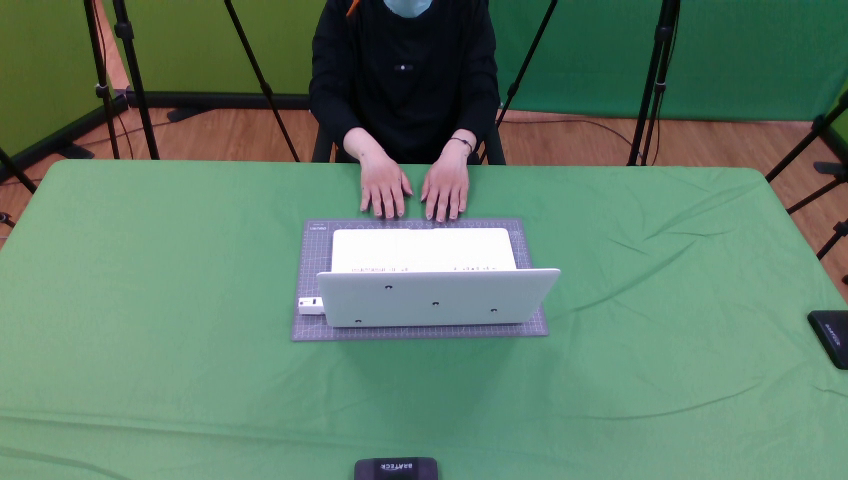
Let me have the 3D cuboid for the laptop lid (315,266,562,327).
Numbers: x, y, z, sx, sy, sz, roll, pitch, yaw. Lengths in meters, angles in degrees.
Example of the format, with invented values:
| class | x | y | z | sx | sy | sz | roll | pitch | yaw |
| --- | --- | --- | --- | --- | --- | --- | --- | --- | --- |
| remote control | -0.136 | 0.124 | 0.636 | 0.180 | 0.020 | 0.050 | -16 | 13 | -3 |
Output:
| class | x | y | z | sx | sy | sz | roll | pitch | yaw |
| --- | --- | --- | --- | --- | --- | --- | --- | --- | --- |
| laptop lid | 0.018 | 0.094 | 0.949 | 0.357 | 0.242 | 0.013 | 0 | 64 | -6 |

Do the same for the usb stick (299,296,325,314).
| class | x | y | z | sx | sy | sz | roll | pitch | yaw |
| --- | --- | --- | --- | --- | --- | --- | --- | --- | --- |
| usb stick | -0.187 | 0.114 | 1.058 | 0.059 | 0.027 | 0.021 | 2 | 45 | -4 |

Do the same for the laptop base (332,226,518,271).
| class | x | y | z | sx | sy | sz | roll | pitch | yaw |
| --- | --- | --- | --- | --- | --- | --- | --- | --- | --- |
| laptop base | 0.004 | 0.062 | 1.136 | 0.355 | 0.023 | 0.234 | -1 | 43 | -4 |
